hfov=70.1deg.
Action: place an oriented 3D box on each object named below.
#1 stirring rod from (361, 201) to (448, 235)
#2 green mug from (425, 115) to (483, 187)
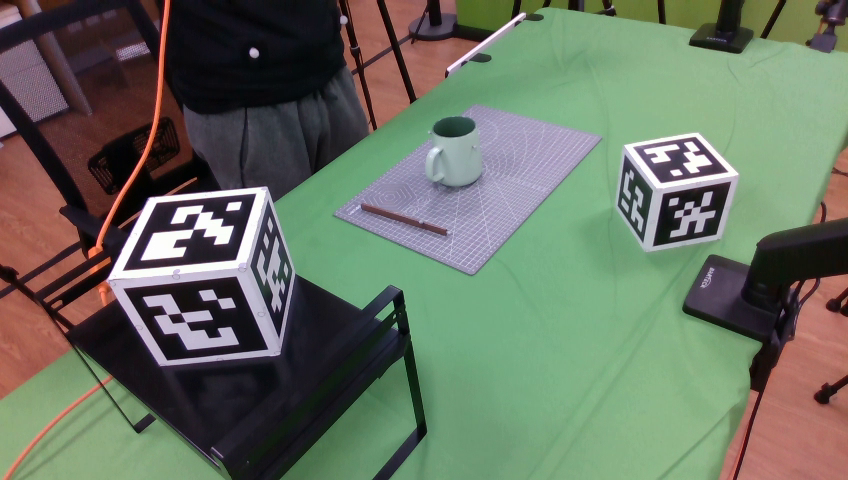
[{"bbox_3d":[-0.035,-0.038,1.019,0.175,0.014,0.006,19,53,27],"label":"stirring rod"},{"bbox_3d":[0.047,-0.148,1.068,0.092,0.105,0.125,24,50,31],"label":"green mug"}]
